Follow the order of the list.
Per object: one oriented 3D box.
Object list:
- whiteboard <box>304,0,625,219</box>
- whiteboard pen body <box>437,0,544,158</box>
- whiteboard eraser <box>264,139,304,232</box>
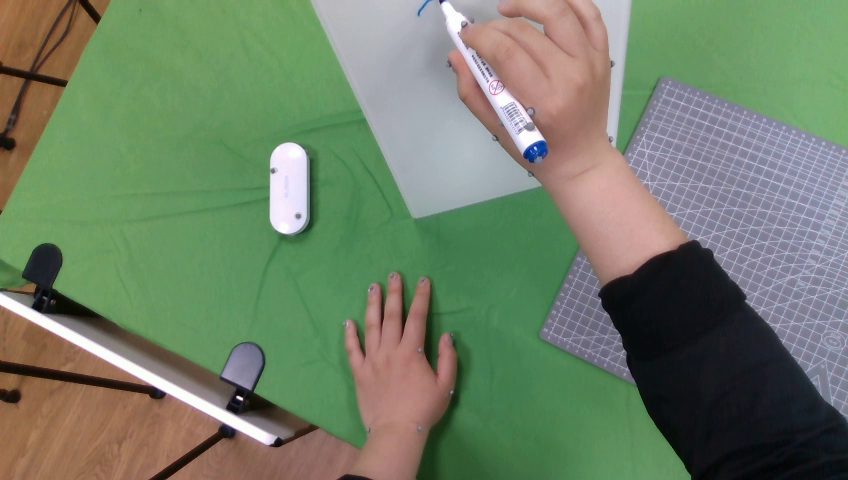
[{"bbox_3d":[0.044,-0.178,0.535,0.217,0.308,0.142,-15,61,6],"label":"whiteboard"},{"bbox_3d":[0.037,-0.108,0.379,0.017,0.017,0.139,-28,67,4],"label":"whiteboard pen body"},{"bbox_3d":[-0.152,-0.060,0.657,0.041,0.019,0.101,-2,83,6],"label":"whiteboard eraser"}]
